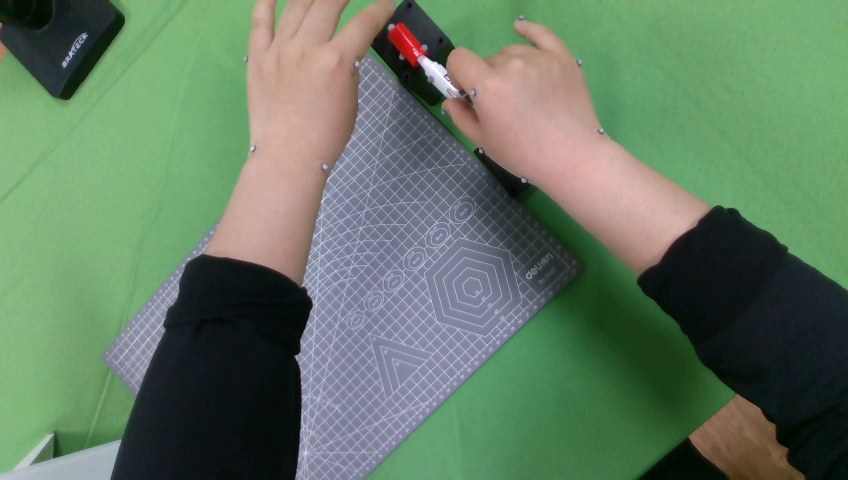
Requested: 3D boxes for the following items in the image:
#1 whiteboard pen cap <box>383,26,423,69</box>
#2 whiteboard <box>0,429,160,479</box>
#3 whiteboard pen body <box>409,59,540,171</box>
[{"bbox_3d":[-0.016,-0.153,0.482,0.017,0.017,0.032,-41,87,11],"label":"whiteboard pen cap"},{"bbox_3d":[-0.442,0.308,0.590,0.143,0.307,0.217,8,95,32],"label":"whiteboard"},{"bbox_3d":[0.035,-0.103,0.477,0.140,0.017,0.017,42,101,8],"label":"whiteboard pen body"}]
